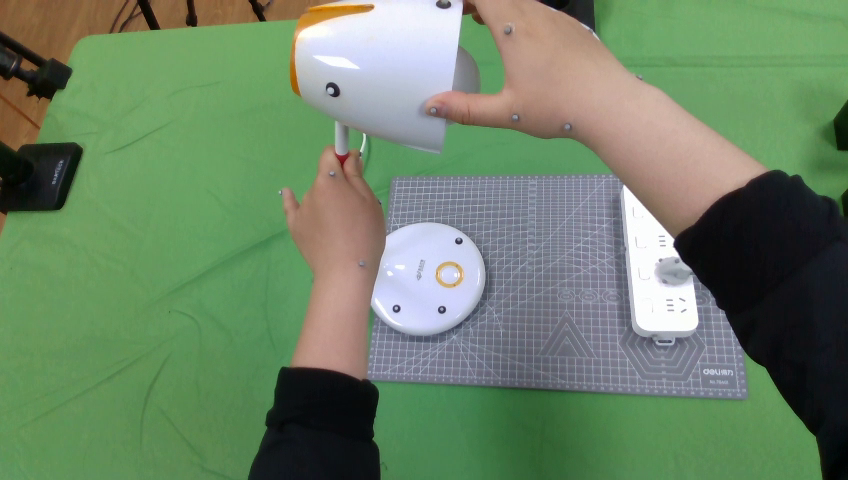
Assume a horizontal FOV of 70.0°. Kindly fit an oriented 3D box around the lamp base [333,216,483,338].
[{"bbox_3d":[-0.029,0.020,0.730,0.179,0.182,0.159,-5,64,12],"label":"lamp base"}]

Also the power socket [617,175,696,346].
[{"bbox_3d":[0.287,0.018,0.757,0.072,0.033,0.225,-1,65,9],"label":"power socket"}]

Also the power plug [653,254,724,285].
[{"bbox_3d":[0.312,0.039,0.722,0.072,0.053,0.035,10,69,11],"label":"power plug"}]

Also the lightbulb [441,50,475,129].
[{"bbox_3d":[-0.016,-0.117,0.443,0.108,0.060,0.059,15,68,-1],"label":"lightbulb"}]

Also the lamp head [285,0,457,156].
[{"bbox_3d":[-0.040,-0.122,0.450,0.123,0.113,0.111,4,66,3],"label":"lamp head"}]
